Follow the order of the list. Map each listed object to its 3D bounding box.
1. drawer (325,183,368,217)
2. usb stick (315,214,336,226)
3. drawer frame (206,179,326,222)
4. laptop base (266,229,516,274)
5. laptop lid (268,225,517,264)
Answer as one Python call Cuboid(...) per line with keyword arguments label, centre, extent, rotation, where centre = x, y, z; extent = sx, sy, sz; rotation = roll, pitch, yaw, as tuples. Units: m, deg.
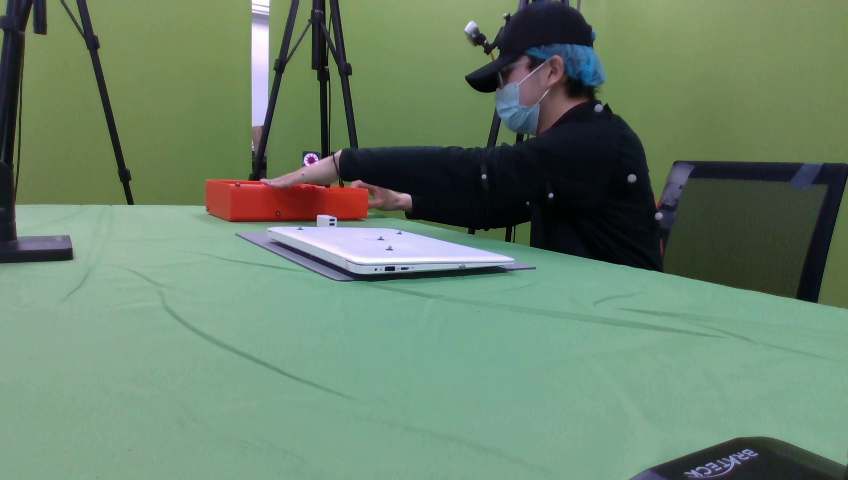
Cuboid(label="drawer", centre=(-0.268, -0.096, 1.425), extent=(0.213, 0.073, 0.193), rotation=(-3, 10, -35))
Cuboid(label="usb stick", centre=(-0.200, -0.038, 1.212), extent=(0.021, 0.027, 0.059), rotation=(-5, 8, -39))
Cuboid(label="drawer frame", centre=(-0.356, -0.093, 1.363), extent=(0.215, 0.082, 0.200), rotation=(-4, 10, -34))
Cuboid(label="laptop base", centre=(-0.066, 0.014, 0.877), extent=(0.237, 0.023, 0.352), rotation=(2, 6, -32))
Cuboid(label="laptop lid", centre=(-0.063, 0.002, 0.877), extent=(0.243, 0.013, 0.355), rotation=(1, 7, -30))
